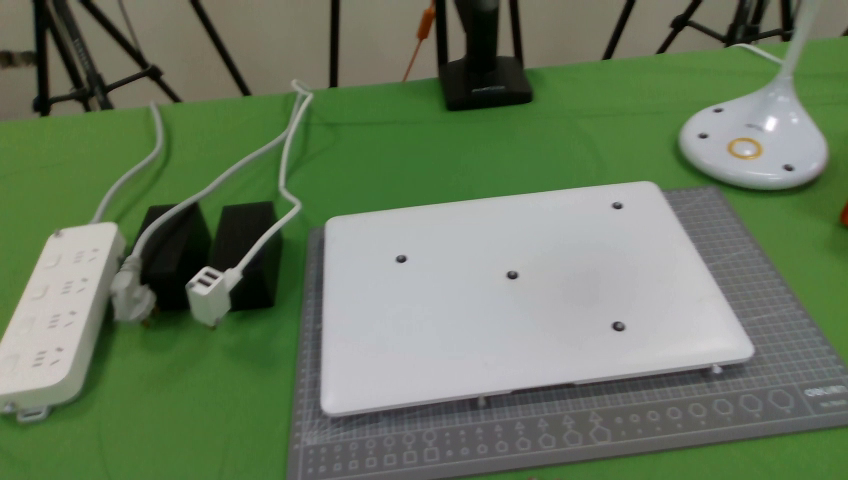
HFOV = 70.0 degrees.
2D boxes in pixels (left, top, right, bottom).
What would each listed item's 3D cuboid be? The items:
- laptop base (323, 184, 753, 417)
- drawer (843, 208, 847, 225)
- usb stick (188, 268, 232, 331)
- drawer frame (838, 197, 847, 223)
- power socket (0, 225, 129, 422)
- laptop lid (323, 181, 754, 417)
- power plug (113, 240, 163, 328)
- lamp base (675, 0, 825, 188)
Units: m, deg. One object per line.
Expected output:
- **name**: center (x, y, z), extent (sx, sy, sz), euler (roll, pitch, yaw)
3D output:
- **laptop base**: center (0.083, 0.043, 0.568), extent (0.355, 0.023, 0.233), euler (-7, 45, -3)
- **drawer**: center (0.557, -0.052, 0.589), extent (0.192, 0.074, 0.211), euler (30, 51, 33)
- **usb stick**: center (-0.182, 0.054, 0.520), extent (0.021, 0.059, 0.027), euler (21, 46, 12)
- **drawer frame**: center (0.558, -0.056, 0.590), extent (0.200, 0.083, 0.213), euler (30, 52, 33)
- **power socket**: center (-0.336, 0.064, 0.569), extent (0.072, 0.033, 0.224), euler (-7, 42, -5)
- **laptop lid**: center (0.083, 0.036, 0.558), extent (0.357, 0.013, 0.239), euler (-6, 44, -2)
- **power plug**: center (-0.251, 0.043, 0.551), extent (0.035, 0.053, 0.072), euler (10, 59, 24)
- **lamp base**: center (0.380, -0.176, 0.665), extent (0.159, 0.182, 0.178), euler (20, 45, 25)
